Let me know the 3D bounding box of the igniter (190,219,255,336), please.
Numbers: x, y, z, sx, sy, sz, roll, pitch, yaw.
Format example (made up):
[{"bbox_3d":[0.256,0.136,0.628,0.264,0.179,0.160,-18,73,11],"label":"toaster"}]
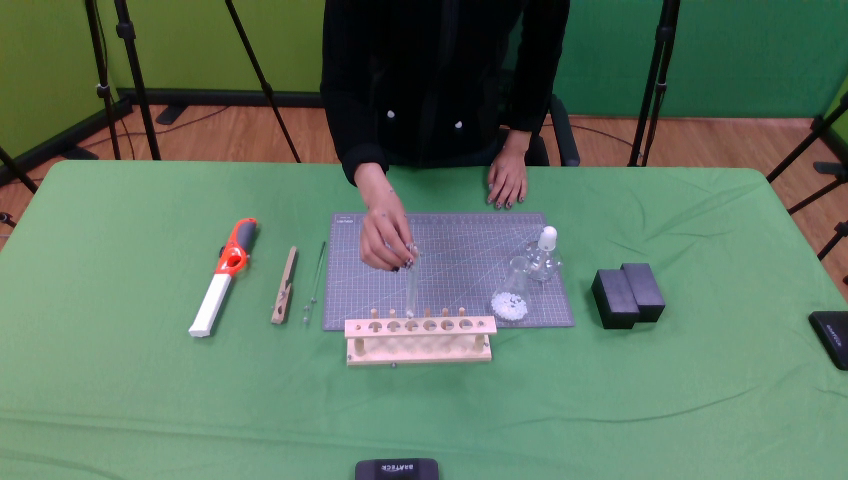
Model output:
[{"bbox_3d":[-0.364,0.058,1.110,0.057,0.025,0.275,-1,45,8],"label":"igniter"}]

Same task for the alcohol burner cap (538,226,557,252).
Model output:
[{"bbox_3d":[0.226,-0.004,1.104,0.034,0.048,0.033,-1,50,1],"label":"alcohol burner cap"}]

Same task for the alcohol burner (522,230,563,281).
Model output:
[{"bbox_3d":[0.224,0.020,1.131,0.078,0.119,0.077,4,46,-4],"label":"alcohol burner"}]

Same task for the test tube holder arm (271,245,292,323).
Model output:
[{"bbox_3d":[-0.259,0.076,1.106,0.013,0.015,0.177,28,39,-27],"label":"test tube holder arm"}]

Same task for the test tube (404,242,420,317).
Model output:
[{"bbox_3d":[-0.018,0.063,0.909,0.017,0.151,0.017,3,41,-3],"label":"test tube"}]

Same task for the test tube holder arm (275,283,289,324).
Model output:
[{"bbox_3d":[-0.254,0.111,1.077,0.010,0.015,0.087,29,38,-26],"label":"test tube holder arm"}]

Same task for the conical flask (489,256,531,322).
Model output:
[{"bbox_3d":[0.158,0.081,1.060,0.075,0.122,0.075,2,46,-2],"label":"conical flask"}]

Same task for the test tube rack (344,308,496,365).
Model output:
[{"bbox_3d":[-0.009,0.154,1.006,0.242,0.085,0.066,-1,46,-5],"label":"test tube rack"}]

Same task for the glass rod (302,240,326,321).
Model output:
[{"bbox_3d":[-0.203,0.071,1.123,0.008,0.008,0.198,5,44,1],"label":"glass rod"}]
